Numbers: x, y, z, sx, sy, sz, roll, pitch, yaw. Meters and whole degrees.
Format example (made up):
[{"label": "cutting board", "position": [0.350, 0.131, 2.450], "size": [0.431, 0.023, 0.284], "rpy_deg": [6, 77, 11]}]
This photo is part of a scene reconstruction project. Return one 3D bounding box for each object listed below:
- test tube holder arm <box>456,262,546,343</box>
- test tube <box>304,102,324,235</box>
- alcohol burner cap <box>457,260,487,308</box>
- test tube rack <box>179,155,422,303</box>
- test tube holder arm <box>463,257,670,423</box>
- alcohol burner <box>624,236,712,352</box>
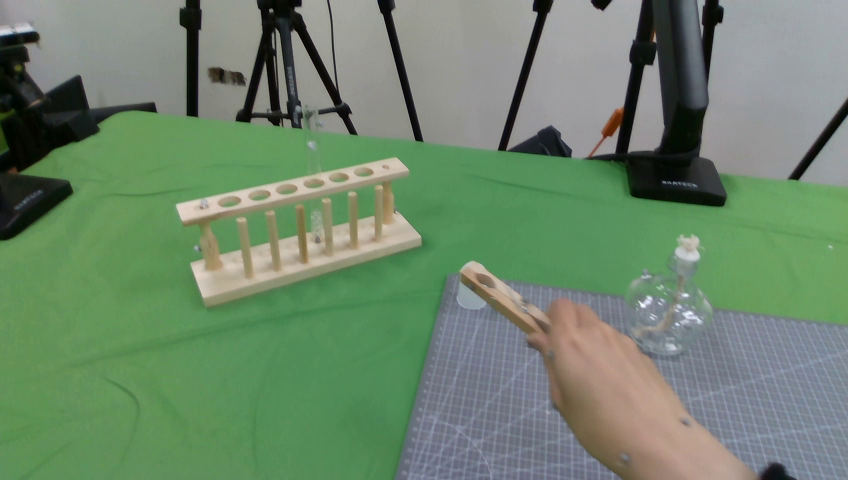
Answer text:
[{"label": "test tube holder arm", "position": [0.057, 0.045, 0.446], "size": [0.010, 0.015, 0.087], "rpy_deg": [-40, 57, -22]}, {"label": "test tube", "position": [-0.116, -0.072, 0.645], "size": [0.017, 0.151, 0.017], "rpy_deg": [3, 30, -1]}, {"label": "alcohol burner cap", "position": [0.050, 0.041, 0.610], "size": [0.034, 0.048, 0.033], "rpy_deg": [2, 36, -1]}, {"label": "test tube rack", "position": [-0.124, -0.017, 0.652], "size": [0.243, 0.086, 0.066], "rpy_deg": [-16, 39, -23]}, {"label": "test tube holder arm", "position": [0.092, 0.065, 0.425], "size": [0.013, 0.015, 0.177], "rpy_deg": [-40, 57, -22]}, {"label": "alcohol burner", "position": [0.226, 0.044, 0.552], "size": [0.078, 0.120, 0.077], "rpy_deg": [2, 37, -1]}]
